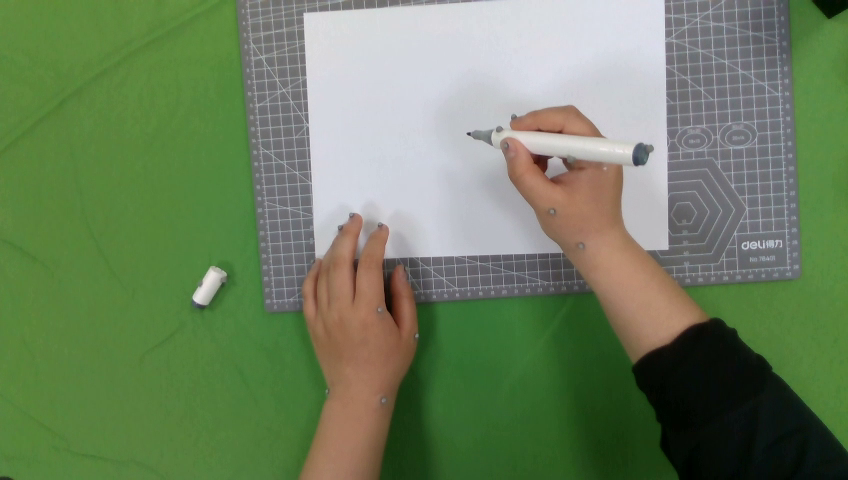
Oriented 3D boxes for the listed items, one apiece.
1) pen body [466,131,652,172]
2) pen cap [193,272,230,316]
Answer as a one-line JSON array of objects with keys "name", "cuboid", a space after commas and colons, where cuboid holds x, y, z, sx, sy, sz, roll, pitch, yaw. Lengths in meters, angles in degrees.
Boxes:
[{"name": "pen body", "cuboid": [0.085, -0.063, 0.418, 0.143, 0.017, 0.017, 16, 94, 40]}, {"name": "pen cap", "cuboid": [-0.187, 0.048, 0.529, 0.017, 0.017, 0.038, 34, 94, 3]}]
